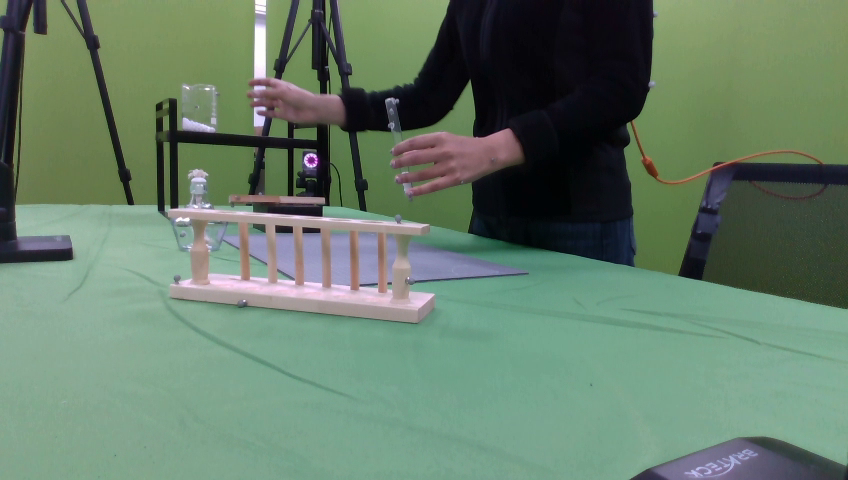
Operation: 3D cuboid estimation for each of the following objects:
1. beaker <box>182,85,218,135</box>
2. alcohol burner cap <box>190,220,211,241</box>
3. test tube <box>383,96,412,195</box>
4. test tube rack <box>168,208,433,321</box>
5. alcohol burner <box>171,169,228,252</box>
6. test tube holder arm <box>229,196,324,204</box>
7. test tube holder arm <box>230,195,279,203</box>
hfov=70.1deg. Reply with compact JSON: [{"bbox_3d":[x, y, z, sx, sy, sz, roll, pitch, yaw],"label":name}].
[{"bbox_3d":[-0.479,-0.276,1.291,0.074,0.100,0.084,2,8,-1],"label":"beaker"},{"bbox_3d":[-0.365,-0.023,0.988,0.034,0.048,0.034,2,7,0],"label":"alcohol burner cap"},{"bbox_3d":[-0.039,-0.141,0.911,0.017,0.150,0.017,-12,4,1],"label":"test tube"},{"bbox_3d":[-0.115,0.017,0.574,0.242,0.085,0.067,4,8,13],"label":"test tube rack"},{"bbox_3d":[-0.325,-0.043,0.875,0.078,0.119,0.078,0,7,0],"label":"alcohol burner"},{"bbox_3d":[-0.274,-0.077,1.141,0.179,0.015,0.013,-2,-4,-30],"label":"test tube holder arm"},{"bbox_3d":[-0.311,-0.076,1.113,0.088,0.015,0.010,-2,-4,-30],"label":"test tube holder arm"}]
